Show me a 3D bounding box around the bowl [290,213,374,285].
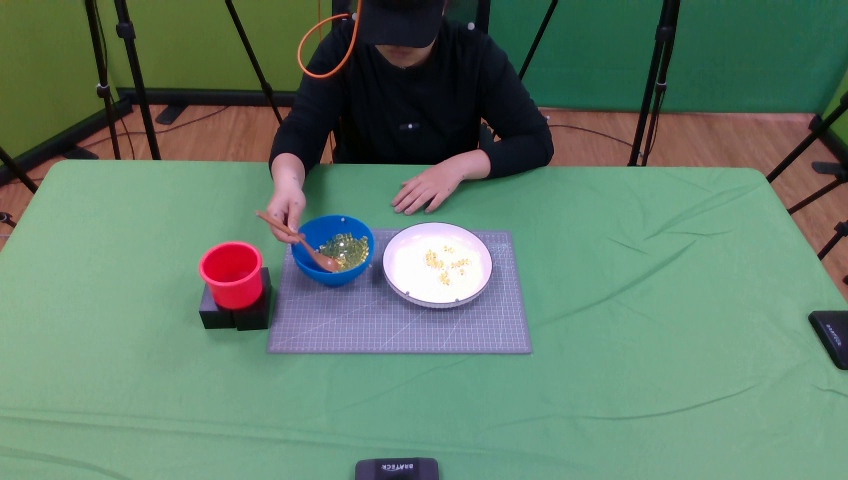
[{"bbox_3d":[-0.166,0.030,1.113,0.151,0.077,0.150,2,46,-2],"label":"bowl"}]

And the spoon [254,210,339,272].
[{"bbox_3d":[-0.222,0.001,1.068,0.021,0.195,0.041,-33,38,17],"label":"spoon"}]

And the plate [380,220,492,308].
[{"bbox_3d":[0.022,0.048,1.138,0.208,0.039,0.206,2,46,-2],"label":"plate"}]
